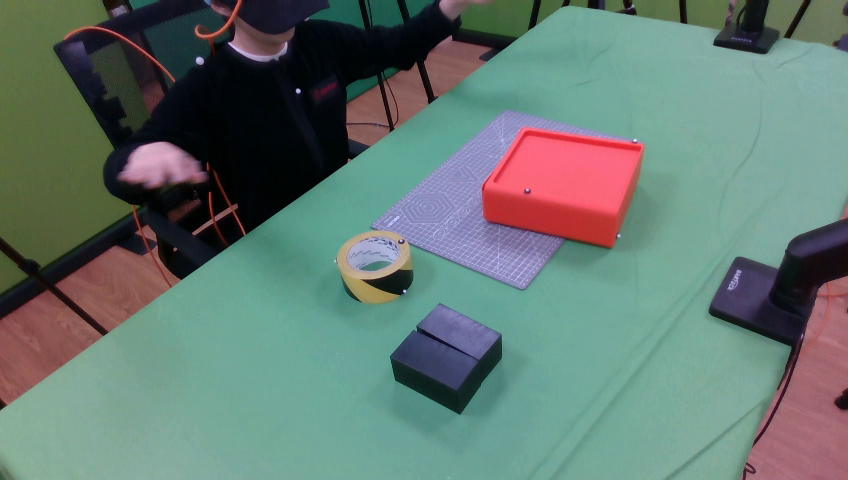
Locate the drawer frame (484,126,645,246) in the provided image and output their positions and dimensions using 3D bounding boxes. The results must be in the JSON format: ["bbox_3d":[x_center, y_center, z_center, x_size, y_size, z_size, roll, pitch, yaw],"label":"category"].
[{"bbox_3d":[0.234,-0.096,1.003,0.212,0.083,0.202,14,44,22],"label":"drawer frame"}]

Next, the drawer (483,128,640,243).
[{"bbox_3d":[0.230,-0.096,1.006,0.210,0.073,0.194,14,44,23],"label":"drawer"}]

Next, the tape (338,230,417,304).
[{"bbox_3d":[-0.069,0.041,0.917,0.117,0.053,0.116,-4,41,4],"label":"tape"}]
